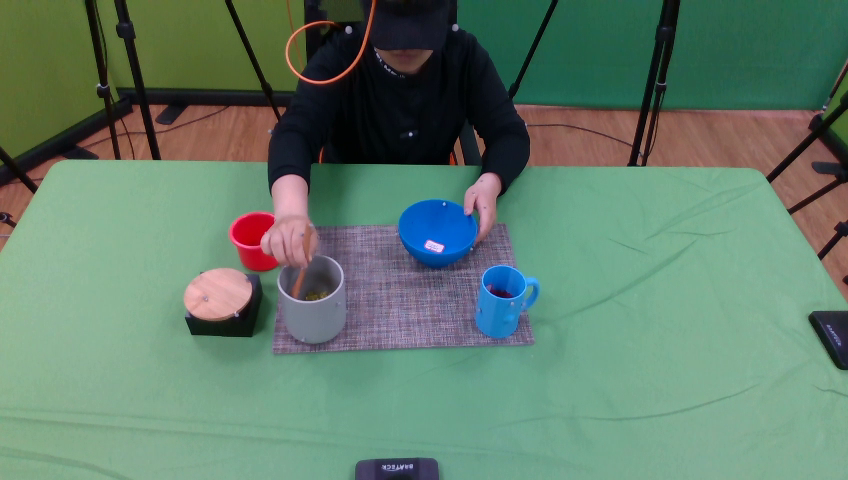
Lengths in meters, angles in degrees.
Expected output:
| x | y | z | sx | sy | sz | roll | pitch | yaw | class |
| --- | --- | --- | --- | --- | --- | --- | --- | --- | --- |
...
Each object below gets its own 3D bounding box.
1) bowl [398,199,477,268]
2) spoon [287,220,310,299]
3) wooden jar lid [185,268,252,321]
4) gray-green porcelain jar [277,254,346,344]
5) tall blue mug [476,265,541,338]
| x | y | z | sx | sy | sz | roll | pitch | yaw | class |
| --- | --- | --- | --- | --- | --- | --- | --- | --- | --- |
| 0.024 | -0.001 | 1.157 | 0.151 | 0.077 | 0.150 | 2 | 46 | -2 | bowl |
| -0.200 | 0.052 | 0.967 | 0.022 | 0.194 | 0.041 | 3 | 30 | -28 | spoon |
| -0.343 | 0.093 | 1.015 | 0.108 | 0.021 | 0.107 | 3 | 46 | -3 | wooden jar lid |
| -0.184 | 0.103 | 1.008 | 0.106 | 0.127 | 0.105 | 2 | 46 | -2 | gray-green porcelain jar |
| 0.142 | 0.099 | 1.047 | 0.077 | 0.108 | 0.107 | 33 | 52 | 27 | tall blue mug |
